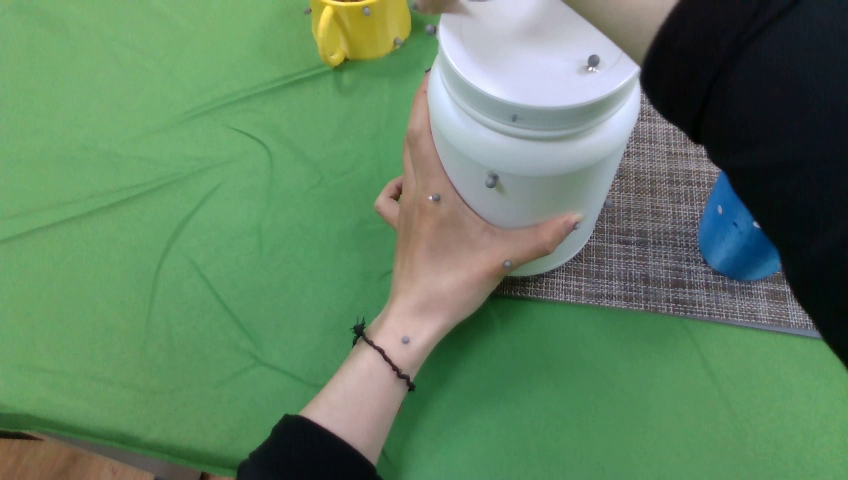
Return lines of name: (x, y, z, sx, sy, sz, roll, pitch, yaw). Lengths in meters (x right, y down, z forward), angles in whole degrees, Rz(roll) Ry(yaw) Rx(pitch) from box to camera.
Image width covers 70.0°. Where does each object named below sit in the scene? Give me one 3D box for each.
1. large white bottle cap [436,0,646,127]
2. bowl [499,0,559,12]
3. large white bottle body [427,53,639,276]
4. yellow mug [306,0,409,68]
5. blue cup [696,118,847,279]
large white bottle cap: (0.064, -0.112, 0.338, 0.115, 0.018, 0.114, -1, 61, 2)
bowl: (0.106, -0.281, 0.594, 0.151, 0.077, 0.150, -1, 61, 2)
large white bottle body: (0.068, -0.070, 0.414, 0.130, 0.186, 0.129, -1, 61, 2)
yellow mug: (-0.071, -0.219, 0.573, 0.099, 0.064, 0.130, 18, 64, 11)
blue cup: (0.239, -0.020, 0.427, 0.092, 0.101, 0.092, -2, 61, 4)
